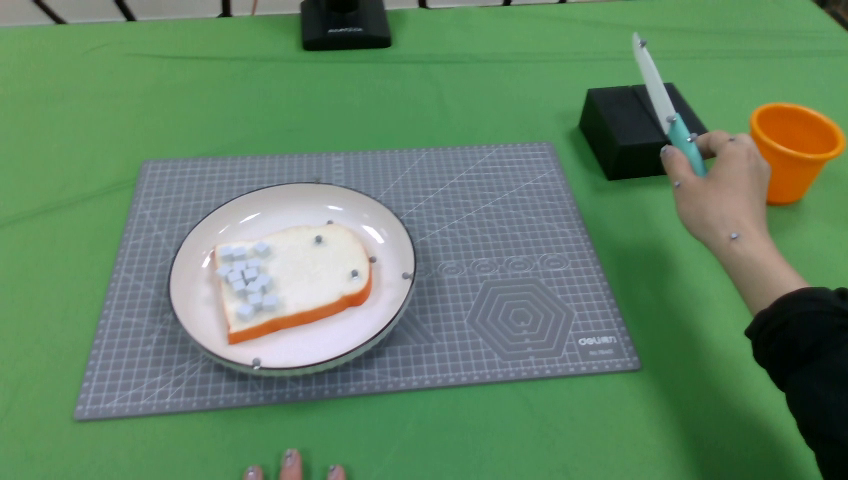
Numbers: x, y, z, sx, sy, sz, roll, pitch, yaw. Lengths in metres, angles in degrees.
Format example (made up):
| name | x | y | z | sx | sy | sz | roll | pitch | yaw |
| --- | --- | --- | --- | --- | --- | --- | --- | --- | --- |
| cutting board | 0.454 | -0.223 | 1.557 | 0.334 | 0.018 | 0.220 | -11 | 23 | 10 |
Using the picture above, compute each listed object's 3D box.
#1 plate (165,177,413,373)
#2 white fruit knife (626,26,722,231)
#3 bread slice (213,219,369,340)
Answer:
| name | x | y | z | sx | sy | sz | roll | pitch | yaw |
| --- | --- | --- | --- | --- | --- | --- | --- | --- | --- |
| plate | -0.113 | 0.028 | 0.530 | 0.209 | 0.038 | 0.207 | 2 | 49 | -2 |
| white fruit knife | 0.223 | -0.107 | 0.551 | 0.016 | 0.027 | 0.206 | -13 | 75 | -15 |
| bread slice | -0.116 | 0.025 | 0.536 | 0.132 | 0.019 | 0.103 | -16 | 52 | -14 |
